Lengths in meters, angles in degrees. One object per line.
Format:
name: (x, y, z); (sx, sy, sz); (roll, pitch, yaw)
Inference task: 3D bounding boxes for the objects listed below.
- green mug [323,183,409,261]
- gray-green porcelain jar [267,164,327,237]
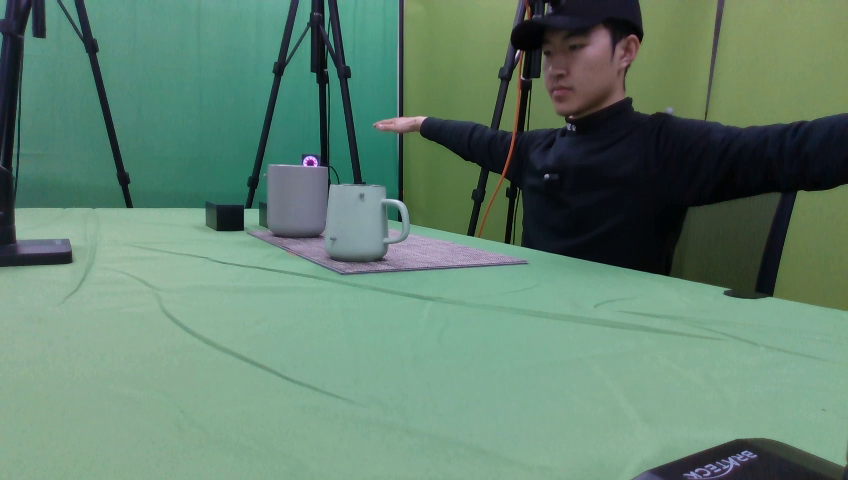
green mug: (-0.080, -0.026, 0.851); (0.125, 0.105, 0.093); (5, 7, 20)
gray-green porcelain jar: (-0.227, -0.072, 1.086); (0.106, 0.126, 0.106); (2, 8, 0)
